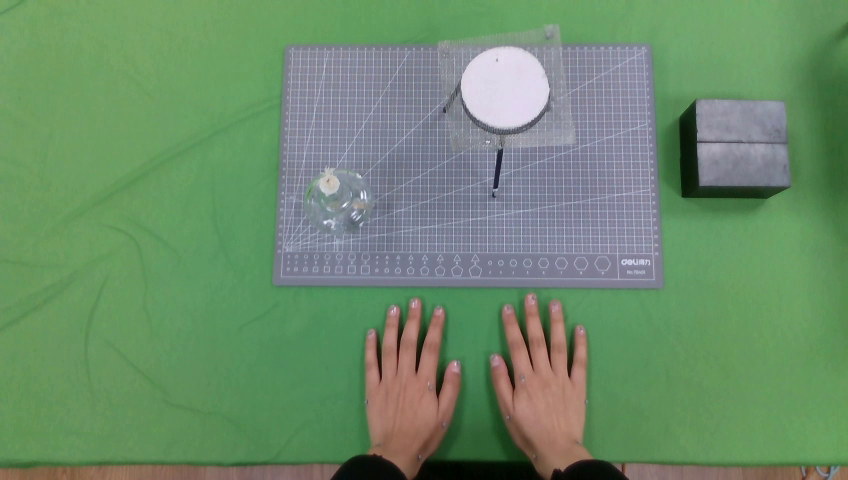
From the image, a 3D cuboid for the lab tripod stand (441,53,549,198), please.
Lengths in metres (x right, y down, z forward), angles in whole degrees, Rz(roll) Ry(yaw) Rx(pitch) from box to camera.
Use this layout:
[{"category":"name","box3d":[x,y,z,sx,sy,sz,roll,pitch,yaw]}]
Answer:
[{"category":"lab tripod stand","box3d":[0.084,-0.135,0.663,0.148,0.132,0.147,0,78,1]}]

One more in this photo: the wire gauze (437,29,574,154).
[{"category":"wire gauze","box3d":[0.079,-0.145,0.597,0.125,0.011,0.121,-5,80,0]}]

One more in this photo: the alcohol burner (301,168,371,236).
[{"category":"alcohol burner","box3d":[-0.098,-0.046,0.662,0.078,0.119,0.077,0,77,1]}]
